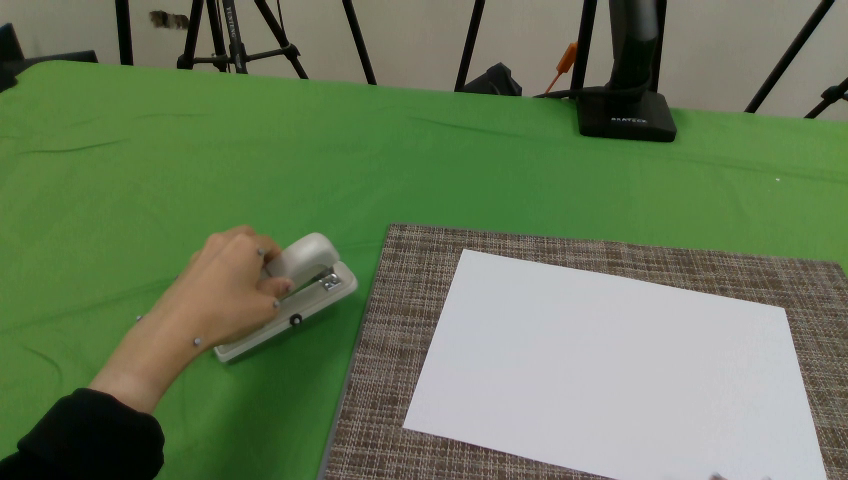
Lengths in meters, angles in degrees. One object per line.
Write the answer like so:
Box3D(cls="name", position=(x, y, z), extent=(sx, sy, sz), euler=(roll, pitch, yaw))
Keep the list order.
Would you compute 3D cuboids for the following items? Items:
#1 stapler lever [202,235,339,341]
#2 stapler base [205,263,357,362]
Box3D(cls="stapler lever", position=(-0.123, 0.036, 0.490), extent=(0.118, 0.040, 0.026), euler=(-29, 50, -19))
Box3D(cls="stapler base", position=(-0.120, 0.052, 0.509), extent=(0.130, 0.025, 0.041), euler=(-29, 50, -19))
